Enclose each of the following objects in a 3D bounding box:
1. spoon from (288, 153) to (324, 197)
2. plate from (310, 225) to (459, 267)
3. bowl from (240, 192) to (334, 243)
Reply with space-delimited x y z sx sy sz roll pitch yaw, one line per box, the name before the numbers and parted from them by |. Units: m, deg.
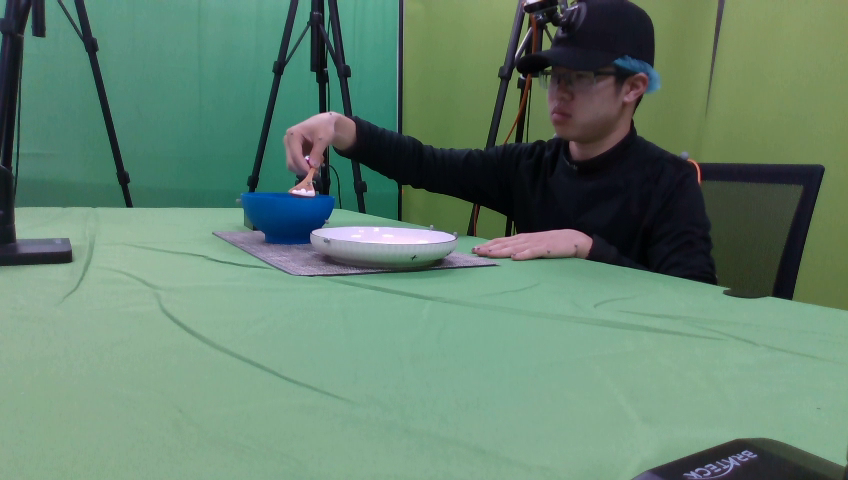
spoon | -0.188 -0.111 1.014 0.041 0.021 0.193 9 31 -1
plate | -0.055 0.008 0.851 0.208 0.039 0.207 2 7 0
bowl | -0.223 -0.037 0.992 0.151 0.077 0.151 2 7 0
